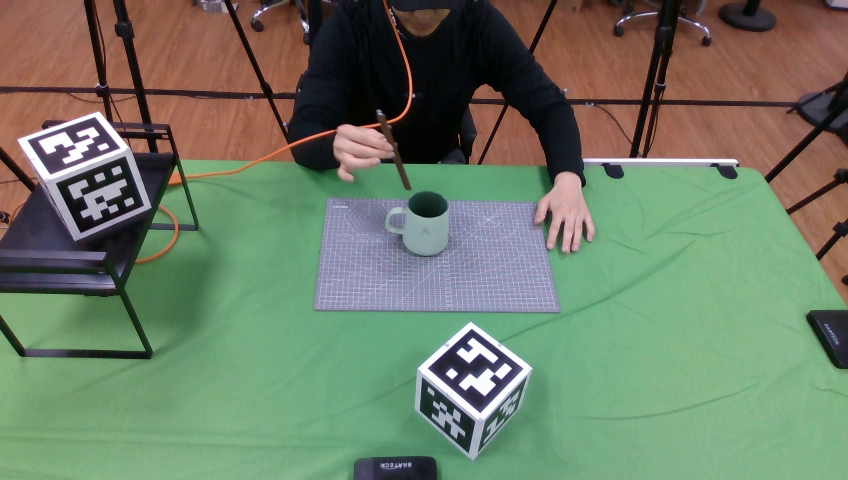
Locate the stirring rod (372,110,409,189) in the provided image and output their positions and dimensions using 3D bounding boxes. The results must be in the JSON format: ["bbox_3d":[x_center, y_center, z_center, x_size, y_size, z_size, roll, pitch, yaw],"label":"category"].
[{"bbox_3d":[-0.057,-0.153,1.052,0.014,0.177,0.006,6,52,25],"label":"stirring rod"}]

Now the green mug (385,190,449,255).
[{"bbox_3d":[-0.013,-0.033,1.166,0.125,0.105,0.092,2,46,-2],"label":"green mug"}]
